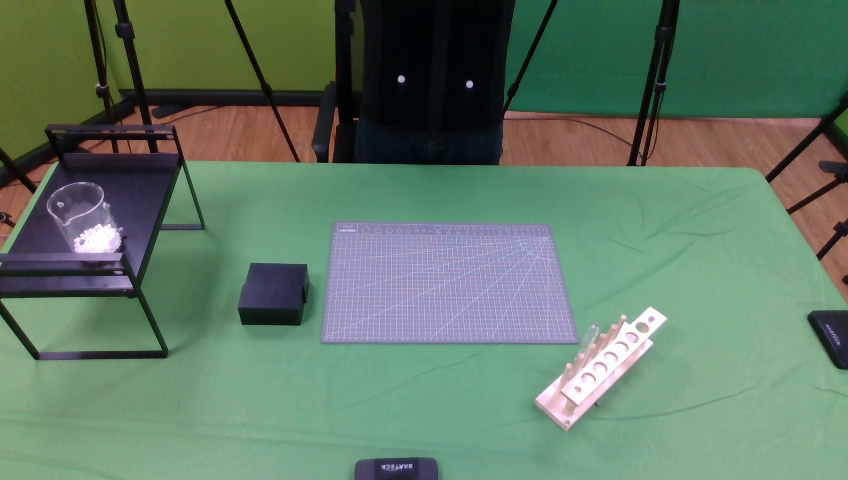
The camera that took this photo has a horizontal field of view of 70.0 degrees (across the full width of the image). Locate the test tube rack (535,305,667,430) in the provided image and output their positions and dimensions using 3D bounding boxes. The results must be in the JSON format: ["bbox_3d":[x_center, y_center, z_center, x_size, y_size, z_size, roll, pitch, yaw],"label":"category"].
[{"bbox_3d":[0.290,0.193,0.984,0.242,0.085,0.066,-32,56,-30],"label":"test tube rack"}]

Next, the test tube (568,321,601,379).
[{"bbox_3d":[0.247,0.173,0.938,0.017,0.151,0.017,2,47,-2],"label":"test tube"}]

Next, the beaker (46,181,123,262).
[{"bbox_3d":[-0.487,-0.021,0.877,0.074,0.101,0.083,3,47,0],"label":"beaker"}]
